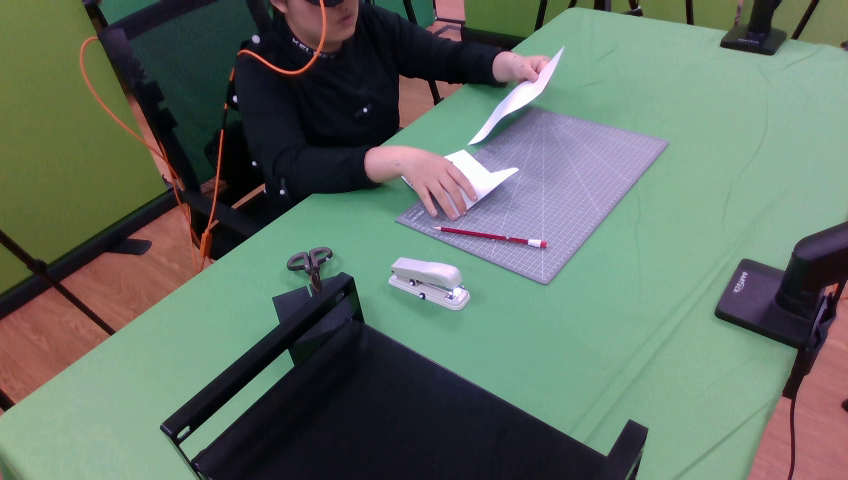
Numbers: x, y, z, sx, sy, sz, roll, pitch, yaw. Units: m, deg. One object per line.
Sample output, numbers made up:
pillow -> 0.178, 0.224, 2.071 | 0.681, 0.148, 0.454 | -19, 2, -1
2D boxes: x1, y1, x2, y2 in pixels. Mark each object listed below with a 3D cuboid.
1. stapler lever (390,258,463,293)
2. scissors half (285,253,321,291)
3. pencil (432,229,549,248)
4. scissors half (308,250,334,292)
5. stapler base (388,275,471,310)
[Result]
stapler lever -> 0.003, 0.046, 0.881 | 0.117, 0.040, 0.027 | 17, 44, 29
scissors half -> -0.178, 0.049, 0.909 | 0.040, 0.013, 0.174 | -18, 20, -19
pencil -> 0.103, -0.005, 0.970 | 0.193, 0.012, 0.012 | 8, 42, 18
scissors half -> -0.158, 0.045, 0.913 | 0.040, 0.013, 0.174 | -7, 18, -3
stapler base -> 0.007, 0.066, 0.897 | 0.129, 0.024, 0.041 | 17, 43, 29
